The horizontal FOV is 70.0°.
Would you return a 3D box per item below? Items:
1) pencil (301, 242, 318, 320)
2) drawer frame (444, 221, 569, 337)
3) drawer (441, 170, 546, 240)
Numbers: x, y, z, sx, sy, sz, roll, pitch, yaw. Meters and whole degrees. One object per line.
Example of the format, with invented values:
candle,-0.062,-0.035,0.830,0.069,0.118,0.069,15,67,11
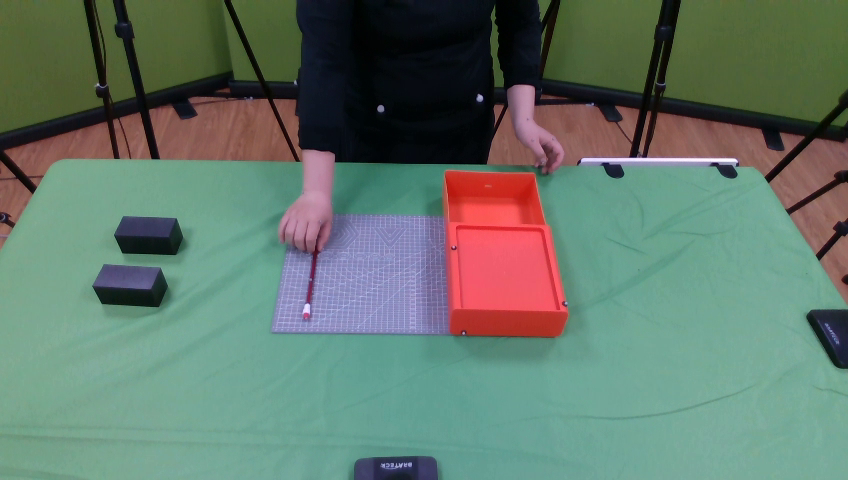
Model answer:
pencil,-0.209,0.070,1.118,0.012,0.012,0.193,2,43,-2
drawer frame,0.141,0.067,1.097,0.202,0.083,0.212,2,46,-4
drawer,0.137,-0.048,1.214,0.195,0.073,0.210,2,44,-4
